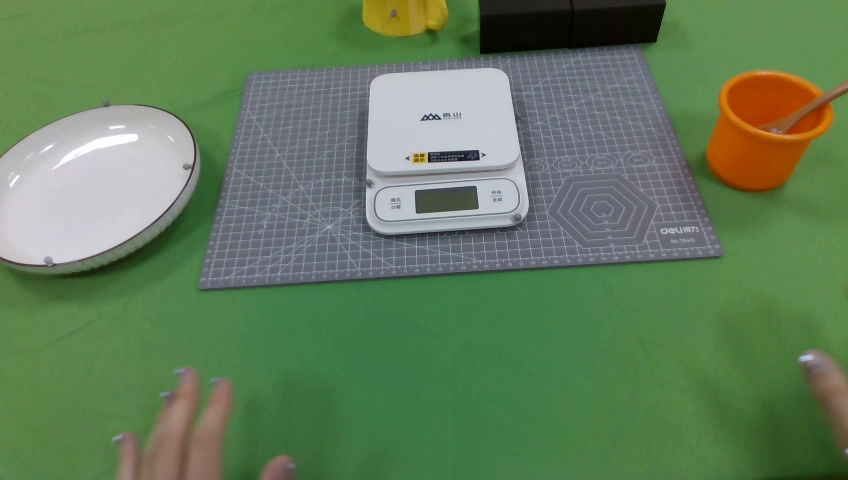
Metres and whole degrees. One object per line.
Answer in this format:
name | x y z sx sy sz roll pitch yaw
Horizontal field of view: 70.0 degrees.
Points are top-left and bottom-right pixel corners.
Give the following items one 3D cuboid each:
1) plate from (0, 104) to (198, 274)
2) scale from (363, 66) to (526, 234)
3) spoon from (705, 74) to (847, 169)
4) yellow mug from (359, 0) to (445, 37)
plate | -0.318 -0.049 0.580 0.209 0.038 0.207 -1 53 2
scale | 0.015 -0.094 0.590 0.148 0.032 0.199 -4 53 2
spoon | 0.335 -0.118 0.515 0.022 0.194 0.041 23 47 -36
yellow mug | -0.023 -0.296 0.729 0.129 0.064 0.100 37 64 27
